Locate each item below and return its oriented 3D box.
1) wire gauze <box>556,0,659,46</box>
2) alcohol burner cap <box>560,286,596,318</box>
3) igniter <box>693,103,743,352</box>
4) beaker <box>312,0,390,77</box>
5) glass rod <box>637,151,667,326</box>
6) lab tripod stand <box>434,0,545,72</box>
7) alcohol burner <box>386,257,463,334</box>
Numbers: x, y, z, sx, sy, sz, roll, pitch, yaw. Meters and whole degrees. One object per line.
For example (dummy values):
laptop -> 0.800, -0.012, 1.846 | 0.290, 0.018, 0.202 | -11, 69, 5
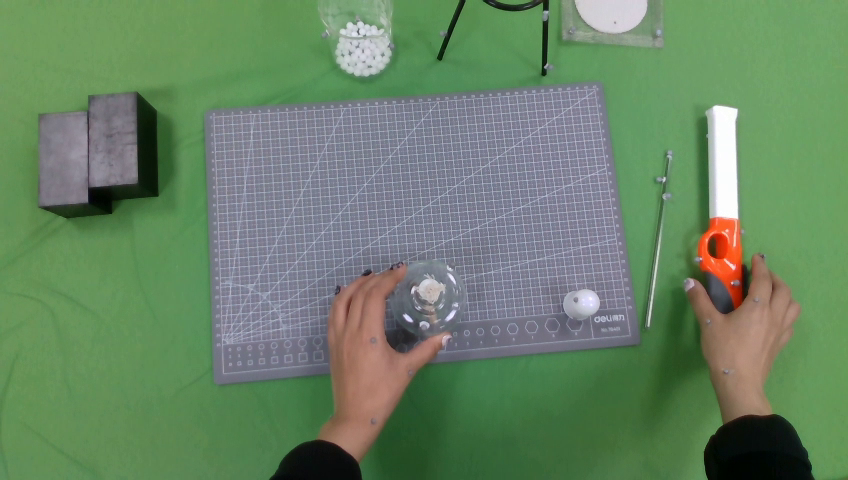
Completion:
wire gauze -> 0.215, -0.290, 0.715 | 0.125, 0.011, 0.121 | 2, 80, 0
alcohol burner cap -> 0.163, 0.064, 0.634 | 0.034, 0.048, 0.033 | 0, 79, -1
igniter -> 0.321, -0.016, 0.663 | 0.057, 0.025, 0.275 | 6, 81, -11
beaker -> -0.071, -0.225, 0.648 | 0.084, 0.100, 0.074 | 40, 82, 4
glass rod -> 0.252, -0.004, 0.669 | 0.008, 0.008, 0.199 | 12, 81, 0
lab tripod stand -> 0.079, -0.253, 0.641 | 0.148, 0.132, 0.147 | 0, 79, 0
alcohol burner -> 0.001, 0.052, 0.595 | 0.078, 0.119, 0.077 | 0, 78, -2
